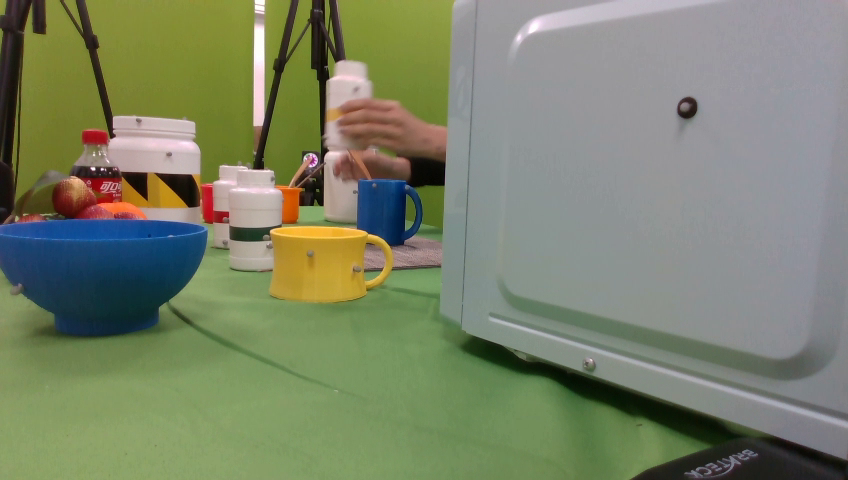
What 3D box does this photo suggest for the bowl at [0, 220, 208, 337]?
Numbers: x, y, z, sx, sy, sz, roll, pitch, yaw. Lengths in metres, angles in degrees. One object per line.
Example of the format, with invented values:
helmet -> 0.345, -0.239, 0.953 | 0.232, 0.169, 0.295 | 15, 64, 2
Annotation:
bowl -> -0.251, 0.029, 0.479 | 0.151, 0.077, 0.151 | 2, 7, 0

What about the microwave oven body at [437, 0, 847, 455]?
microwave oven body -> 0.279, -0.040, 0.464 | 0.444, 0.260, 0.324 | -3, 9, -41

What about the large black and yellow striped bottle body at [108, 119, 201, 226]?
large black and yellow striped bottle body -> -0.412, -0.088, 0.930 | 0.131, 0.184, 0.130 | 3, 7, 0

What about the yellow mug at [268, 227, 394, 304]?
yellow mug -> -0.094, 0.023, 0.629 | 0.131, 0.064, 0.099 | 0, 7, -22

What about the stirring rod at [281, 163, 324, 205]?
stirring rod -> -0.278, -0.105, 1.293 | 0.176, 0.006, 0.014 | -47, 24, -18

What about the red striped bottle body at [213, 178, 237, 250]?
red striped bottle body -> -0.284, -0.048, 0.909 | 0.063, 0.119, 0.063 | 3, 11, 0

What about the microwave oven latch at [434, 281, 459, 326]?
microwave oven latch -> 0.044, 0.045, 0.470 | 0.079, 0.029, 0.030 | -3, 8, -40

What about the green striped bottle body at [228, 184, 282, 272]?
green striped bottle body -> -0.208, -0.024, 0.745 | 0.063, 0.119, 0.063 | 2, 6, 0

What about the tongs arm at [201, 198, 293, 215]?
tongs arm -> -0.423, -0.084, 1.472 | 0.050, 0.026, 0.386 | 2, 6, 21

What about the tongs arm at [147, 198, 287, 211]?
tongs arm -> -0.504, -0.091, 1.513 | 0.028, 0.028, 0.389 | 0, 4, 37

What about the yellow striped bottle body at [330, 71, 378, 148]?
yellow striped bottle body -> -0.101, -0.197, 0.879 | 0.063, 0.120, 0.063 | 5, 5, 0

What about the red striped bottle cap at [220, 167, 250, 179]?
red striped bottle cap -> -0.281, -0.100, 0.901 | 0.044, 0.017, 0.044 | -1, 5, 0

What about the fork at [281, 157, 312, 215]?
fork -> -0.289, -0.116, 1.321 | 0.028, 0.019, 0.207 | 6, 51, 19

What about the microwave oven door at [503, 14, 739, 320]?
microwave oven door -> 0.217, -0.065, 0.601 | 0.358, 0.243, 0.039 | -4, 10, -41

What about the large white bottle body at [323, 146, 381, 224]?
large white bottle body -> -0.163, -0.134, 1.369 | 0.131, 0.184, 0.130 | 2, 7, 0

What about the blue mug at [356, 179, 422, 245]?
blue mug -> -0.057, -0.047, 1.007 | 0.116, 0.106, 0.082 | 5, 8, 21

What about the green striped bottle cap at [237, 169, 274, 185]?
green striped bottle cap -> -0.205, -0.075, 0.737 | 0.044, 0.020, 0.044 | 2, 4, 0

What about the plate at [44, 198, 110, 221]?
plate -> -0.617, -0.056, 1.179 | 0.209, 0.038, 0.209 | 3, 7, 0

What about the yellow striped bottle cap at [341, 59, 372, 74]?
yellow striped bottle cap -> -0.098, -0.248, 0.875 | 0.044, 0.018, 0.044 | 4, 4, 0

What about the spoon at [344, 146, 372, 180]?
spoon -> -0.092, -0.094, 1.024 | 0.021, 0.193, 0.042 | -37, -18, 36

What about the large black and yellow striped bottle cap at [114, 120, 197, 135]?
large black and yellow striped bottle cap -> -0.407, -0.171, 0.920 | 0.115, 0.019, 0.115 | 2, 9, 0

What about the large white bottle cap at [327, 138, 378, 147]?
large white bottle cap -> -0.160, -0.218, 1.357 | 0.115, 0.018, 0.115 | 1, 8, 0

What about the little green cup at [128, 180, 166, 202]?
little green cup -> -0.485, -0.087, 1.062 | 0.061, 0.038, 0.061 | -1, 6, 0
